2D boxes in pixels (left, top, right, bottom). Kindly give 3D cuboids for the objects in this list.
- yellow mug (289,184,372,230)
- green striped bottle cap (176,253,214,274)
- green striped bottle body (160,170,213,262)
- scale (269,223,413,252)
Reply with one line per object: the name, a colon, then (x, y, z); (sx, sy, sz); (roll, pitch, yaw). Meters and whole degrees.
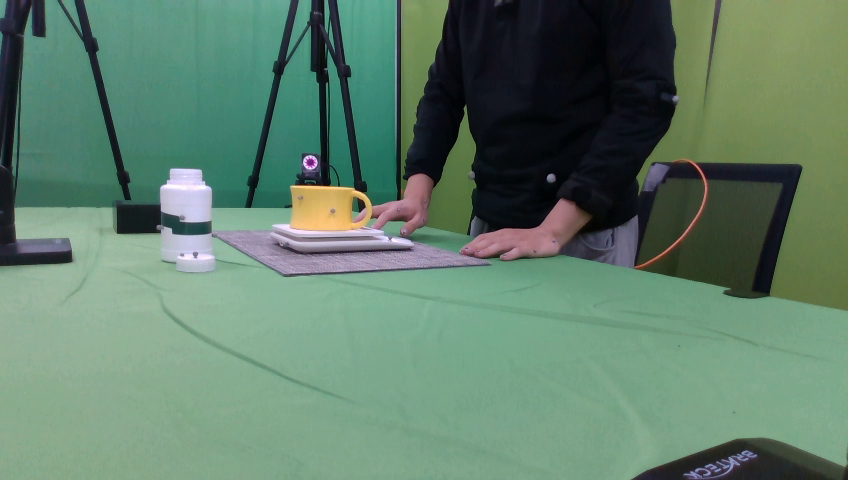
yellow mug: (-0.145, -0.052, 0.944); (0.131, 0.064, 0.100); (4, 7, 9)
green striped bottle cap: (-0.280, 0.029, 0.740); (0.044, 0.020, 0.044); (7, 3, 0)
green striped bottle body: (-0.312, -0.033, 0.797); (0.063, 0.119, 0.063); (2, 7, 0)
scale: (-0.132, -0.007, 0.965); (0.202, 0.031, 0.148); (-2, 8, -31)
